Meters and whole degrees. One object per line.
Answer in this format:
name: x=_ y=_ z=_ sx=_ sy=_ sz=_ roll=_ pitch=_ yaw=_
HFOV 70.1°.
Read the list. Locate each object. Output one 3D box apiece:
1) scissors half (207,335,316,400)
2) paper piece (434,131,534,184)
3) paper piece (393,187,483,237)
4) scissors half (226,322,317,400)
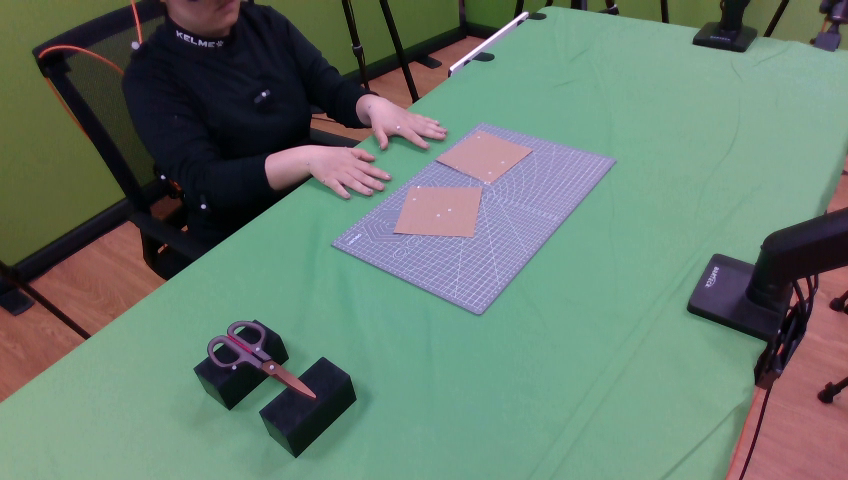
scissors half: x=-0.201 y=0.159 z=0.741 sx=0.174 sy=0.013 sz=0.040 roll=18 pitch=40 yaw=23
paper piece: x=0.114 y=-0.161 z=1.150 sx=0.135 sy=0.009 sz=0.139 roll=31 pitch=52 yaw=32
paper piece: x=0.027 y=-0.051 z=1.033 sx=0.135 sy=0.004 sz=0.135 roll=3 pitch=41 yaw=12
scissors half: x=-0.189 y=0.149 z=0.754 sx=0.040 sy=0.013 sz=0.173 roll=-34 pitch=49 yaw=-31
